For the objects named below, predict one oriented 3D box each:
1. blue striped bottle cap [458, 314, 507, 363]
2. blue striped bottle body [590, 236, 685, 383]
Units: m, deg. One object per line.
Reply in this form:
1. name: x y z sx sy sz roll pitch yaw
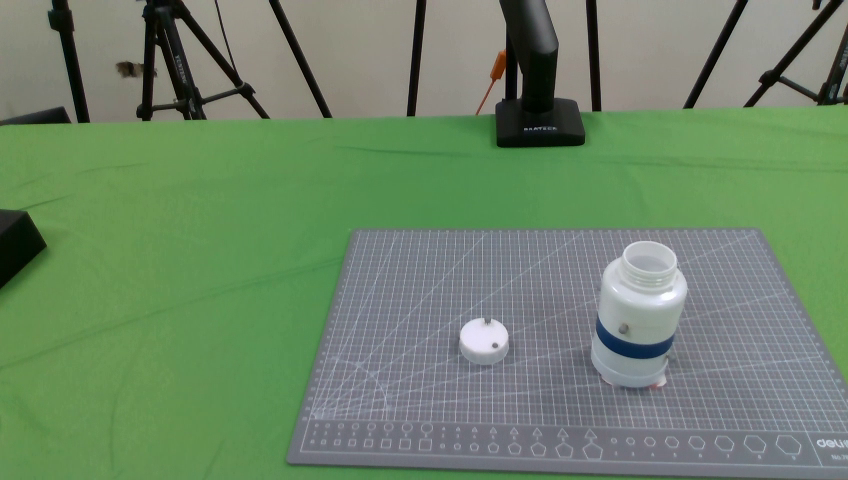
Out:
1. blue striped bottle cap: 0.053 0.088 0.546 0.044 0.021 0.044 -2 38 2
2. blue striped bottle body: 0.172 0.055 0.491 0.063 0.122 0.062 -3 39 3
